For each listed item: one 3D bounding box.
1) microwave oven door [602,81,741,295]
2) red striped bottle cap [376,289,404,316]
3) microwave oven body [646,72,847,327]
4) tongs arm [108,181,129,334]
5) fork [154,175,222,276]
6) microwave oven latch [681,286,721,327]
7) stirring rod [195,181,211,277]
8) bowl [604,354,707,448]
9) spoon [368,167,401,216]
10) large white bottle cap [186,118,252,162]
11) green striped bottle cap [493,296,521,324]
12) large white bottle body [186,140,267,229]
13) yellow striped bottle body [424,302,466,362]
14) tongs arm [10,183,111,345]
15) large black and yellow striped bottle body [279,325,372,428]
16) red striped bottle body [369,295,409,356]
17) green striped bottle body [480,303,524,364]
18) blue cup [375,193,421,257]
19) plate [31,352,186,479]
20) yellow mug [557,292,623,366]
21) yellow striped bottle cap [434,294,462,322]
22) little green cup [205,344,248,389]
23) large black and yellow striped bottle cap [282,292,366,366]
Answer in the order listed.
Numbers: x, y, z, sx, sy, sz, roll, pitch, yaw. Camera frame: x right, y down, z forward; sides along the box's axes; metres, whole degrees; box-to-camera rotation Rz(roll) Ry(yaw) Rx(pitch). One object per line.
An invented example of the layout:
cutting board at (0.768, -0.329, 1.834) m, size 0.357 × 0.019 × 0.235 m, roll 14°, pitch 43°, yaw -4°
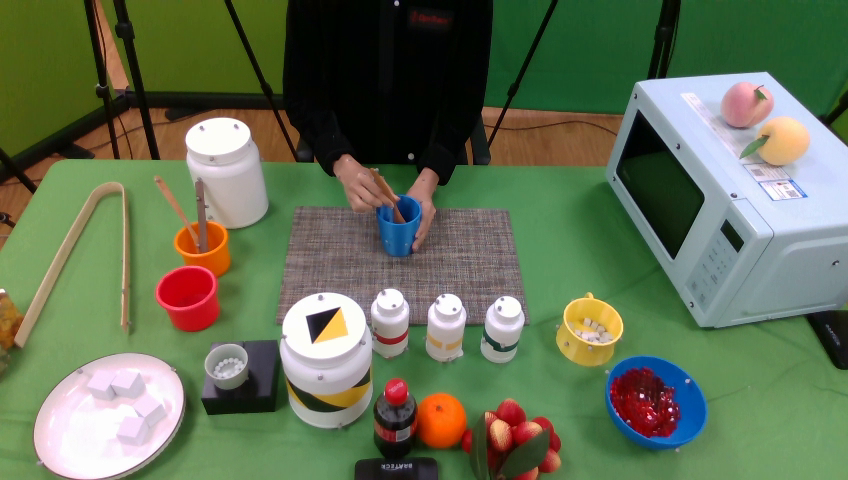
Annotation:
microwave oven door at (0.456, -0.107, 1.162) m, size 0.039 × 0.245 × 0.353 m, roll -7°, pitch 47°, yaw -11°
red striped bottle cap at (-0.055, 0.098, 0.958) m, size 0.044 × 0.018 × 0.044 m, roll 0°, pitch 48°, yaw 0°
microwave oven body at (0.607, -0.089, 1.163) m, size 0.326 × 0.261 × 0.438 m, roll -7°, pitch 46°, yaw -10°
tongs arm at (-0.571, 0.019, 1.123) m, size 0.051 × 0.026 × 0.382 m, roll -11°, pitch 47°, yaw -12°
fork at (-0.431, -0.026, 1.101) m, size 0.028 × 0.018 × 0.207 m, roll -33°, pitch 100°, yaw -25°
microwave oven latch at (0.494, 0.119, 1.086) m, size 0.030 × 0.029 × 0.078 m, roll -5°, pitch 46°, yaw -9°
stirring rod at (-0.403, -0.020, 1.104) m, size 0.014 × 0.006 × 0.176 m, roll -6°, pitch 89°, yaw -9°
bowl at (0.346, 0.261, 0.937) m, size 0.151 × 0.077 × 0.150 m, roll 2°, pitch 46°, yaw -2°
spoon at (-0.063, -0.070, 1.110) m, size 0.041 × 0.195 × 0.021 m, roll 19°, pitch 61°, yaw 34°
large white bottle cap at (-0.377, -0.185, 1.115) m, size 0.115 × 0.018 × 0.114 m, roll 2°, pitch 46°, yaw -2°
green striped bottle cap at (0.133, 0.111, 0.962) m, size 0.044 × 0.020 × 0.044 m, roll 2°, pitch 47°, yaw -2°
large white bottle body at (-0.382, -0.127, 1.176) m, size 0.131 × 0.185 × 0.130 m, roll 2°, pitch 46°, yaw -2°
yellow striped bottle body at (0.035, 0.143, 0.995) m, size 0.063 × 0.121 × 0.062 m, roll 3°, pitch 46°, yaw -3°
tongs arm at (-0.658, 0.027, 1.109) m, size 0.028 × 0.028 × 0.385 m, roll -2°, pitch 45°, yaw 2°
large black and yellow striped bottle body at (-0.143, 0.181, 0.900) m, size 0.131 × 0.185 × 0.130 m, roll 2°, pitch 46°, yaw -2°
red striped bottle body at (-0.059, 0.134, 0.997) m, size 0.063 × 0.120 × 0.062 m, roll 5°, pitch 48°, yaw -5°
green striped bottle body at (0.129, 0.147, 1.000) m, size 0.063 × 0.120 × 0.063 m, roll 2°, pitch 46°, yaw -2°
blue cup at (-0.048, -0.022, 1.157) m, size 0.092 × 0.101 × 0.092 m, roll 1°, pitch 45°, yaw -1°
plate at (-0.459, 0.262, 0.898) m, size 0.209 × 0.038 × 0.208 m, roll 2°, pitch 46°, yaw -2°
yellow mug at (0.285, 0.145, 1.051) m, size 0.100 × 0.064 × 0.130 m, roll 7°, pitch 46°, yaw 4°
yellow striped bottle cap at (0.038, 0.107, 0.958) m, size 0.044 × 0.019 × 0.044 m, roll 2°, pitch 45°, yaw -2°
little green cup at (-0.294, 0.191, 0.909) m, size 0.061 × 0.039 × 0.061 m, roll 1°, pitch 47°, yaw -1°
large black and yellow striped bottle cap at (-0.138, 0.121, 0.841) m, size 0.115 × 0.019 × 0.114 m, roll 3°, pitch 47°, yaw -3°
